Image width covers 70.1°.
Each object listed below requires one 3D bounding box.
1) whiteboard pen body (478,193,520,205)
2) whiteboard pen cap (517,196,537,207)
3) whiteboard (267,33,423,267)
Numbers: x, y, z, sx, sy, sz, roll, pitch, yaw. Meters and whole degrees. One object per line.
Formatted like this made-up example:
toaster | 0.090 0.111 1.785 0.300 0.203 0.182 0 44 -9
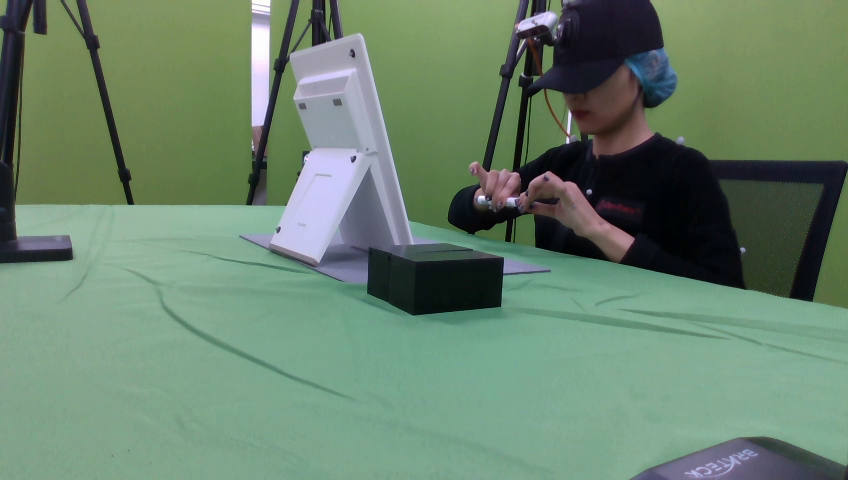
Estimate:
whiteboard pen body | 0.140 -0.072 1.062 0.017 0.017 0.140 -2 7 -31
whiteboard pen cap | 0.173 -0.065 1.012 0.018 0.018 0.033 -3 8 -37
whiteboard | -0.153 -0.098 0.819 0.144 0.305 0.216 -25 21 -29
